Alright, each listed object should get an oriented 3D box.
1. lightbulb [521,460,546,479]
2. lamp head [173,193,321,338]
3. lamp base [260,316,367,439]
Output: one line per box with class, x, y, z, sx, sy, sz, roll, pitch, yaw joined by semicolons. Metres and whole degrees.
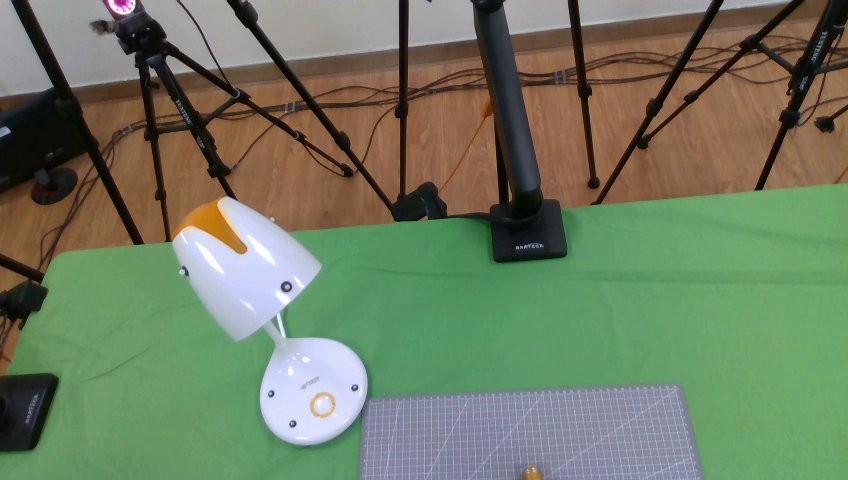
lightbulb;0.143;0.327;0.760;0.059;0.060;0.106;-9;40;3
lamp head;-0.180;0.015;0.587;0.123;0.112;0.112;48;70;-9
lamp base;-0.182;0.166;0.840;0.160;0.182;0.177;-39;57;-17
